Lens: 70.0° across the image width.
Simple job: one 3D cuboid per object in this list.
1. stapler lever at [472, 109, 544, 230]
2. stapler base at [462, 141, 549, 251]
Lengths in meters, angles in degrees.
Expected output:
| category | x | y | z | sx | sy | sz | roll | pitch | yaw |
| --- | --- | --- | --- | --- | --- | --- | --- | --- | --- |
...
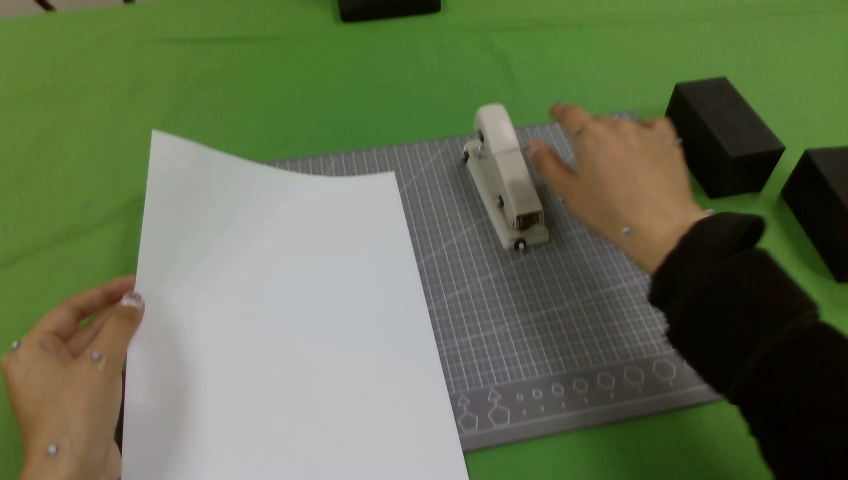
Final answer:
| category | x | y | z | sx | sy | sz | roll | pitch | yaw |
| --- | --- | --- | --- | --- | --- | --- | --- | --- | --- |
| stapler lever | 0.069 | -0.063 | 0.506 | 0.027 | 0.040 | 0.117 | -13 | 53 | -7 |
| stapler base | 0.068 | -0.048 | 0.527 | 0.041 | 0.024 | 0.129 | -13 | 53 | -8 |
